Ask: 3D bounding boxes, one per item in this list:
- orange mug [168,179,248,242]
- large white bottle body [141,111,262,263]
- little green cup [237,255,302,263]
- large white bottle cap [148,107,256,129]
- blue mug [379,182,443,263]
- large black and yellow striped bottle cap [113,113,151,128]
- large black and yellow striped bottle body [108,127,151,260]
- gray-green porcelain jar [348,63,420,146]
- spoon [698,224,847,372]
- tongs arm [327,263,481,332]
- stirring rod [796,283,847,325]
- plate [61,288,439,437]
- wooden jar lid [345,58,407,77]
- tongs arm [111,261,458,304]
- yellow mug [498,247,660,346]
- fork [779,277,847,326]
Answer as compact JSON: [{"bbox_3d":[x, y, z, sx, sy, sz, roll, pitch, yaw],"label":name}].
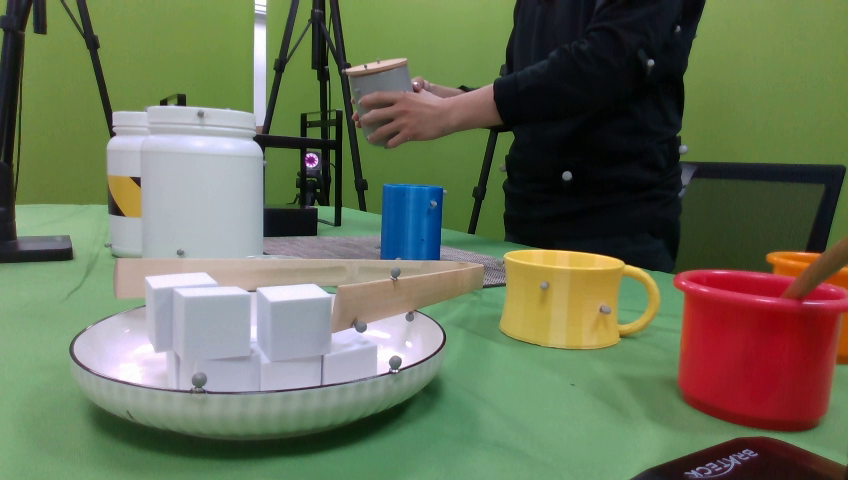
[{"bbox_3d":[-0.351,-0.050,0.986,0.126,0.101,0.083,-3,8,-9],"label":"orange mug"},{"bbox_3d":[-0.254,-0.053,0.697,0.131,0.184,0.130,2,7,0],"label":"large white bottle body"},{"bbox_3d":[-0.150,0.038,0.589,0.061,0.038,0.061,3,6,0],"label":"little green cup"},{"bbox_3d":[-0.250,-0.137,0.686,0.115,0.018,0.115,3,8,0],"label":"large white bottle cap"},{"bbox_3d":[-0.020,-0.026,0.833,0.082,0.106,0.116,1,7,-7],"label":"blue mug"},{"bbox_3d":[-0.348,-0.154,0.800,0.115,0.019,0.115,2,6,0],"label":"large black and yellow striped bottle cap"},{"bbox_3d":[-0.350,-0.071,0.812,0.131,0.184,0.130,2,7,0],"label":"large black and yellow striped bottle body"},{"bbox_3d":[-0.067,-0.237,1.061,0.106,0.126,0.105,-12,22,5],"label":"gray-green porcelain jar"},{"bbox_3d":[0.195,0.032,0.323,0.041,0.021,0.194,1,-36,2],"label":"spoon"},{"bbox_3d":[-0.003,0.036,0.493,0.050,0.026,0.386,1,0,19],"label":"tongs arm"},{"bbox_3d":[0.347,0.019,0.460,0.014,0.176,0.006,-17,59,-26],"label":"stirring rod"},{"bbox_3d":[-0.095,0.069,0.362,0.208,0.039,0.207,3,7,0],"label":"plate"},{"bbox_3d":[-0.081,-0.292,1.037,0.108,0.021,0.108,-10,22,5],"label":"wooden jar lid"},{"bbox_3d":[-0.080,0.032,0.527,0.028,0.027,0.389,-3,-3,33],"label":"tongs arm"},{"bbox_3d":[0.130,0.045,0.508,0.131,0.064,0.100,4,7,6],"label":"yellow mug"},{"bbox_3d":[0.335,0.018,0.443,0.028,0.018,0.207,-1,-36,-20],"label":"fork"}]
